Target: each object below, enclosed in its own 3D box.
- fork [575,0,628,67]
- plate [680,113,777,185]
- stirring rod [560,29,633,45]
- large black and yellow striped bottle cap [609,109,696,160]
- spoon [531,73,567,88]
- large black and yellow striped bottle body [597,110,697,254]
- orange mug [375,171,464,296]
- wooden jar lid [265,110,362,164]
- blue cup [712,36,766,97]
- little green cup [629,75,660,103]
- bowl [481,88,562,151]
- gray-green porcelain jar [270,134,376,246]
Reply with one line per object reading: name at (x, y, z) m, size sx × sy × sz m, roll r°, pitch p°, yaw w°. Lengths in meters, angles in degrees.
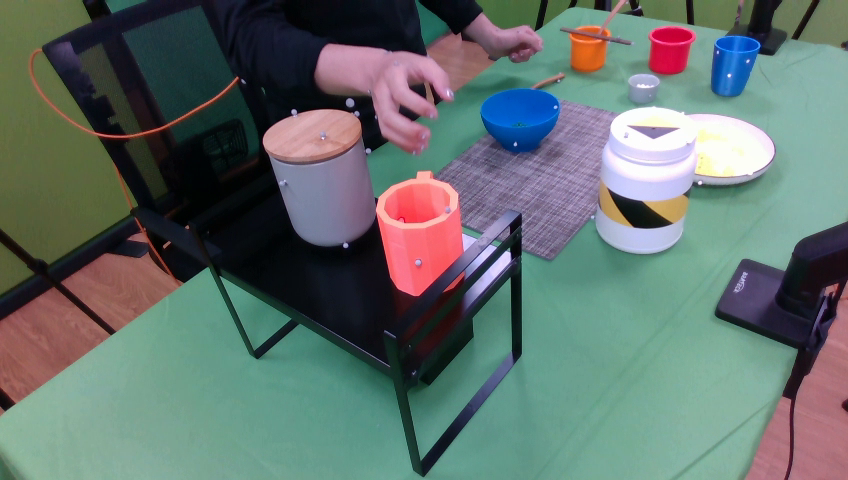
fork at (0.413, -0.481, 1.377) m, size 0.207 × 0.019 × 0.028 m, roll -56°, pitch 43°, yaw 12°
plate at (0.506, -0.158, 1.073) m, size 0.209 × 0.038 × 0.208 m, roll -5°, pitch 40°, yaw 4°
stirring rod at (0.381, -0.452, 1.345) m, size 0.174 × 0.006 × 0.014 m, roll 25°, pitch 49°, yaw 33°
large black and yellow striped bottle cap at (0.319, -0.150, 0.849) m, size 0.115 × 0.019 × 0.114 m, roll -4°, pitch 39°, yaw 3°
spoon at (0.249, -0.336, 1.332) m, size 0.194 × 0.022 × 0.041 m, roll -32°, pitch 32°, yaw -25°
large black and yellow striped bottle body at (0.331, -0.086, 0.904) m, size 0.131 × 0.185 × 0.130 m, roll -5°, pitch 41°, yaw 4°
orange mug at (-0.001, -0.016, 0.662) m, size 0.083 × 0.101 × 0.125 m, roll -2°, pitch 45°, yaw 8°
wooden jar lid at (-0.122, -0.112, 0.673) m, size 0.108 × 0.021 × 0.108 m, roll -4°, pitch 37°, yaw 4°
blue cup at (0.627, -0.350, 1.227) m, size 0.092 × 0.100 × 0.092 m, roll -4°, pitch 39°, yaw 4°
little green cup at (0.458, -0.314, 1.260) m, size 0.061 × 0.039 × 0.061 m, roll -4°, pitch 40°, yaw 4°
bowl at (0.187, -0.223, 1.162) m, size 0.151 × 0.077 × 0.150 m, roll -4°, pitch 40°, yaw 4°
gray-green porcelain jar at (-0.115, -0.064, 0.715) m, size 0.106 × 0.127 × 0.105 m, roll -4°, pitch 40°, yaw 4°
